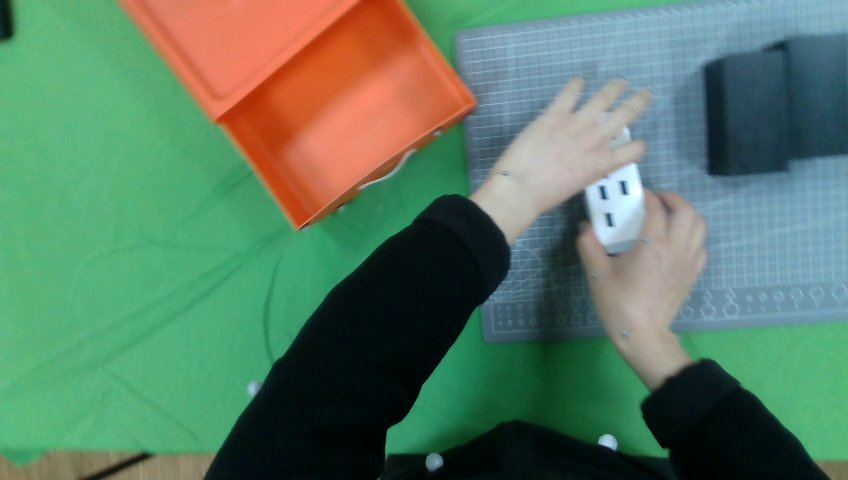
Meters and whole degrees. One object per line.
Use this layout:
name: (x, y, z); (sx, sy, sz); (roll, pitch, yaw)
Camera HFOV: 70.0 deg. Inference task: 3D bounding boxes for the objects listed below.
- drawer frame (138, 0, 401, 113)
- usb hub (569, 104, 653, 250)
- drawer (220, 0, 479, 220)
drawer frame: (-0.154, -0.253, 0.528); (0.201, 0.082, 0.214); (-36, 93, 9)
usb hub: (0.171, -0.057, 0.553); (0.049, 0.025, 0.125); (-13, 92, 9)
drawer: (-0.087, -0.157, 0.540); (0.194, 0.073, 0.212); (-33, 94, 8)
